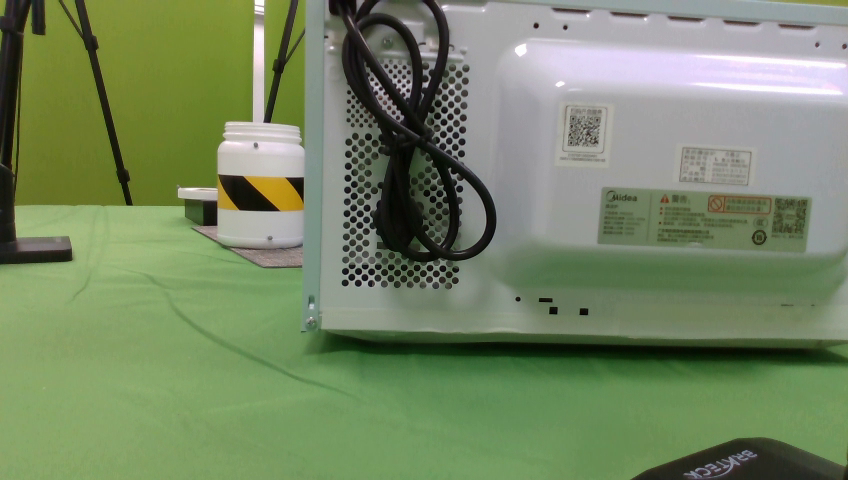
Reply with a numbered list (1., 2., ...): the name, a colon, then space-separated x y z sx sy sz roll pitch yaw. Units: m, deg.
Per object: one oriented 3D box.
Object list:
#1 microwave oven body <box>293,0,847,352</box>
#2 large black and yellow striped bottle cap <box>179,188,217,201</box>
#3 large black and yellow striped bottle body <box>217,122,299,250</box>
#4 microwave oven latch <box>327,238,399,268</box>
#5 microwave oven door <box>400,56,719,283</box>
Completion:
1. microwave oven body: 0.122 -0.055 0.550 0.442 0.260 0.325 3 7 -5
2. large black and yellow striped bottle cap: -0.434 -0.093 1.226 0.115 0.019 0.115 3 9 0
3. large black and yellow striped bottle body: -0.250 -0.084 0.931 0.131 0.184 0.130 3 7 0
4. microwave oven latch: -0.069 0.015 0.694 0.079 0.029 0.030 3 7 -3
5. microwave oven door: 0.155 -0.077 0.698 0.356 0.243 0.039 2 8 -5
